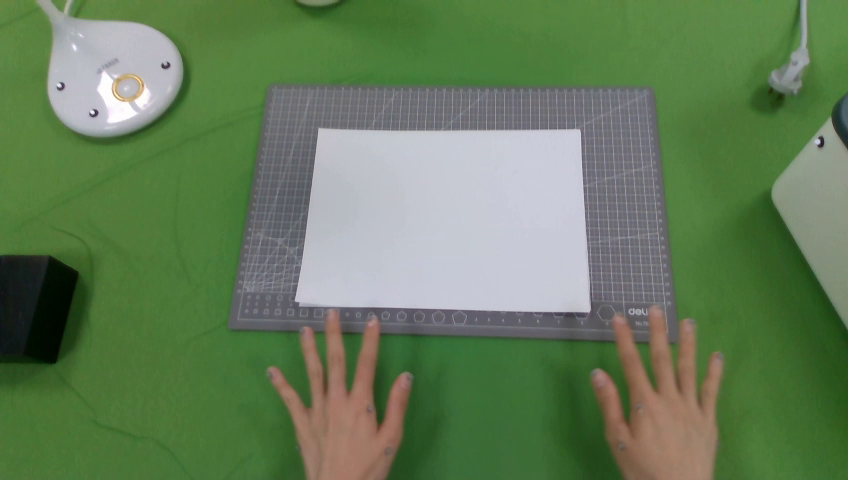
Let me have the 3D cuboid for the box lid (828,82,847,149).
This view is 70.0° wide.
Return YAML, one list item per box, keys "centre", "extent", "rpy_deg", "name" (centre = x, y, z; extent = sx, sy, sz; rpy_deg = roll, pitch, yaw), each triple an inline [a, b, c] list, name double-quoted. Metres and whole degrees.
- centre: [0.510, -0.006, 0.455]
  extent: [0.263, 0.015, 0.368]
  rpy_deg: [-19, 70, -3]
  name: "box lid"

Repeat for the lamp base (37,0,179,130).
- centre: [-0.387, -0.236, 0.654]
  extent: [0.178, 0.181, 0.160]
  rpy_deg: [33, 74, 17]
  name: "lamp base"

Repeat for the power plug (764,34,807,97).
- centre: [0.407, -0.191, 0.677]
  extent: [0.072, 0.053, 0.035]
  rpy_deg: [-33, 66, -32]
  name: "power plug"

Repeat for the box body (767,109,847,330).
- centre: [0.514, 0.023, 0.524]
  extent: [0.254, 0.161, 0.361]
  rpy_deg: [-19, 70, -4]
  name: "box body"
